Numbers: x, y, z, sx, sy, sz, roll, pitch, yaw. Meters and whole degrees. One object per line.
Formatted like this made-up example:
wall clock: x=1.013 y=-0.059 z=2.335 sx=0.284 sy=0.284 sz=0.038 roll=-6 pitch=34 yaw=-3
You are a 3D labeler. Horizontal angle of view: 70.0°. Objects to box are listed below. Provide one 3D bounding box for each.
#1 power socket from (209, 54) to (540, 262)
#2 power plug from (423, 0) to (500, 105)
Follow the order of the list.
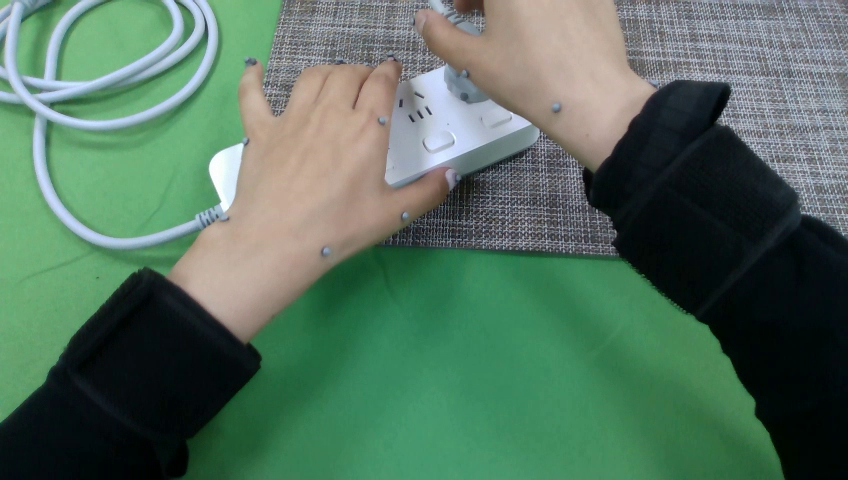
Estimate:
power socket: x=-0.028 y=-0.057 z=0.391 sx=0.227 sy=0.033 sz=0.071 roll=-24 pitch=64 yaw=-13
power plug: x=0.025 y=-0.120 z=0.400 sx=0.035 sy=0.053 sz=0.072 roll=-14 pitch=64 yaw=-7
